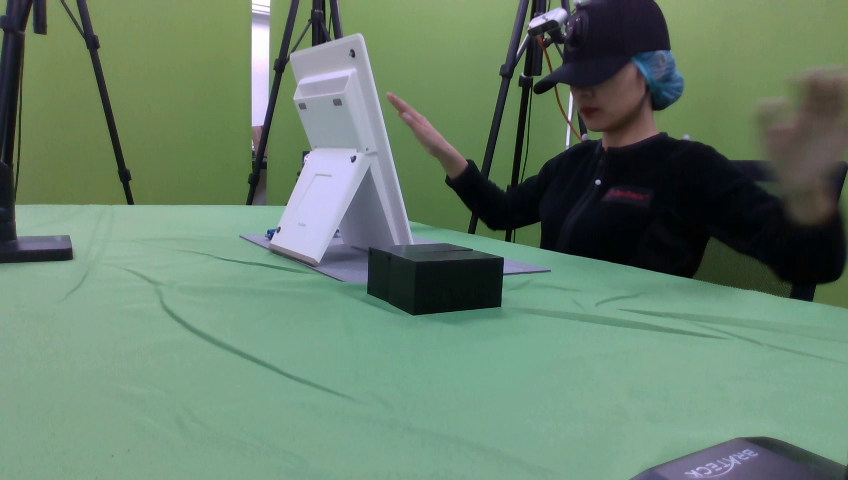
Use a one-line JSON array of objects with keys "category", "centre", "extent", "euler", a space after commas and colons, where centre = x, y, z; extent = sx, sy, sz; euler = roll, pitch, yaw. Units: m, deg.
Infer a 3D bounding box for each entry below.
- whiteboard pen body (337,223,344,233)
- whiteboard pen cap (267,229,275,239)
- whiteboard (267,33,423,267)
[{"category": "whiteboard pen body", "centre": [-0.195, -0.016, 1.034], "extent": [0.141, 0.017, 0.017], "euler": [-6, 11, -39]}, {"category": "whiteboard pen cap", "centre": [-0.240, -0.011, 0.996], "extent": [0.033, 0.018, 0.018], "euler": [-5, 10, -38]}, {"category": "whiteboard", "centre": [-0.153, -0.098, 0.819], "extent": [0.144, 0.305, 0.216], "euler": [-25, 21, -29]}]
